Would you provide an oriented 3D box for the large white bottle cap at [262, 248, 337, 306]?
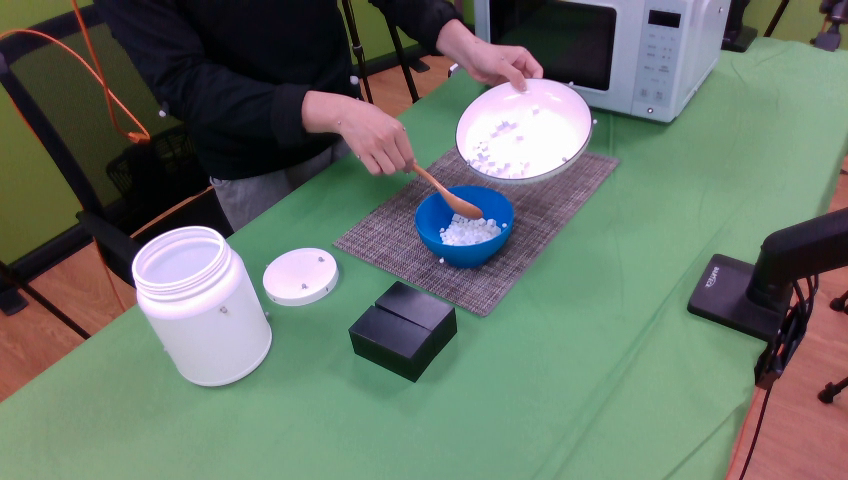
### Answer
[{"bbox_3d":[-0.193,0.056,0.934,0.115,0.018,0.114,-4,41,4],"label":"large white bottle cap"}]

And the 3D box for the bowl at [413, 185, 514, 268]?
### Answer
[{"bbox_3d":[0.063,-0.010,0.922,0.151,0.077,0.150,-4,40,4],"label":"bowl"}]

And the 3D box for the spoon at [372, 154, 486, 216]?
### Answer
[{"bbox_3d":[0.005,-0.082,0.889,0.193,0.042,0.021,32,77,17],"label":"spoon"}]

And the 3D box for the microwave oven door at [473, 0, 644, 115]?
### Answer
[{"bbox_3d":[0.257,-0.396,1.199,0.353,0.245,0.039,21,48,29],"label":"microwave oven door"}]

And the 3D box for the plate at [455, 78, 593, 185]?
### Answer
[{"bbox_3d":[0.153,-0.164,0.931,0.209,0.038,0.208,-7,56,11],"label":"plate"}]

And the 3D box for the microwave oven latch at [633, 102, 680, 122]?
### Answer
[{"bbox_3d":[0.443,-0.249,1.157,0.078,0.029,0.030,21,49,30],"label":"microwave oven latch"}]

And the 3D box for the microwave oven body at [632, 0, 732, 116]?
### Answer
[{"bbox_3d":[0.377,-0.463,1.267,0.438,0.261,0.327,21,48,30],"label":"microwave oven body"}]

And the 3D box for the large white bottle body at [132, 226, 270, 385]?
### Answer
[{"bbox_3d":[-0.286,0.085,0.784,0.130,0.185,0.130,-4,41,4],"label":"large white bottle body"}]
